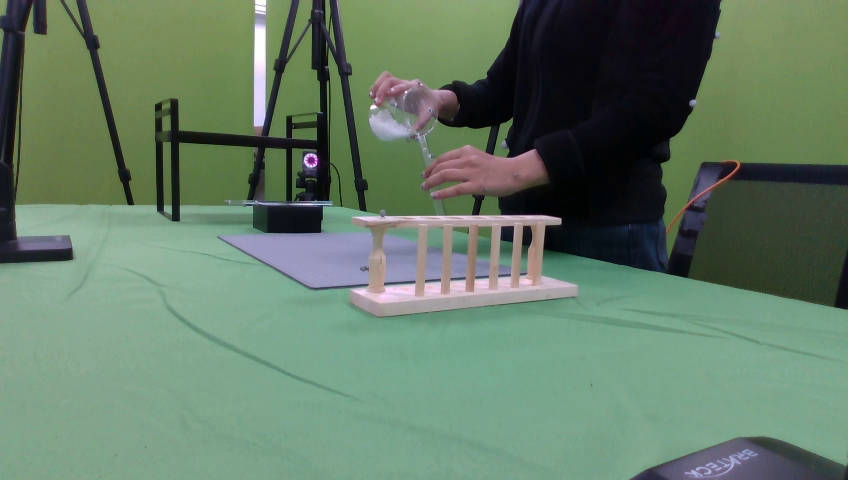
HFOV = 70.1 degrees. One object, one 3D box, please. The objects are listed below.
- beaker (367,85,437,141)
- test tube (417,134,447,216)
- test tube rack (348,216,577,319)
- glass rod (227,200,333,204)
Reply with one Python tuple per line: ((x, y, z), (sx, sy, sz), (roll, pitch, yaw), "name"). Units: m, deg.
((-0.038, -0.201, 0.988), (0.074, 0.084, 0.100), (-8, 4, -42), "beaker")
((0.013, -0.094, 0.941), (0.017, 0.150, 0.017), (-14, -11, -2), "test tube")
((0.048, 0.021, 0.619), (0.244, 0.085, 0.066), (-2, 9, -31), "test tube rack")
((-0.268, -0.071, 1.143), (0.201, 0.008, 0.008), (-1, 8, -29), "glass rod")
